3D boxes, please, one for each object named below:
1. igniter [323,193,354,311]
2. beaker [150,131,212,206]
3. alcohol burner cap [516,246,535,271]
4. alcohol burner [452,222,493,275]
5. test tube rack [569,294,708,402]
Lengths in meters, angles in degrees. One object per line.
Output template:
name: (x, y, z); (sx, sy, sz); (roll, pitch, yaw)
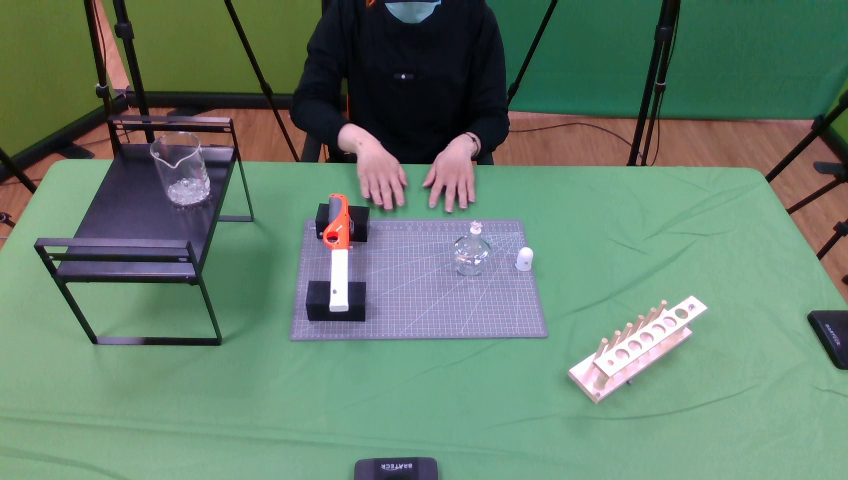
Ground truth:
igniter: (-0.155, 0.012, 1.097); (0.057, 0.025, 0.274); (-2, 48, -7)
beaker: (-0.385, -0.110, 0.969); (0.074, 0.101, 0.083); (-6, 48, -9)
alcohol burner cap: (0.195, 0.032, 1.158); (0.034, 0.048, 0.033); (2, 45, -2)
alcohol burner: (0.091, 0.009, 1.124); (0.078, 0.119, 0.077); (2, 48, -2)
test tube rack: (0.360, 0.167, 1.015); (0.242, 0.085, 0.066); (-25, 52, -25)
